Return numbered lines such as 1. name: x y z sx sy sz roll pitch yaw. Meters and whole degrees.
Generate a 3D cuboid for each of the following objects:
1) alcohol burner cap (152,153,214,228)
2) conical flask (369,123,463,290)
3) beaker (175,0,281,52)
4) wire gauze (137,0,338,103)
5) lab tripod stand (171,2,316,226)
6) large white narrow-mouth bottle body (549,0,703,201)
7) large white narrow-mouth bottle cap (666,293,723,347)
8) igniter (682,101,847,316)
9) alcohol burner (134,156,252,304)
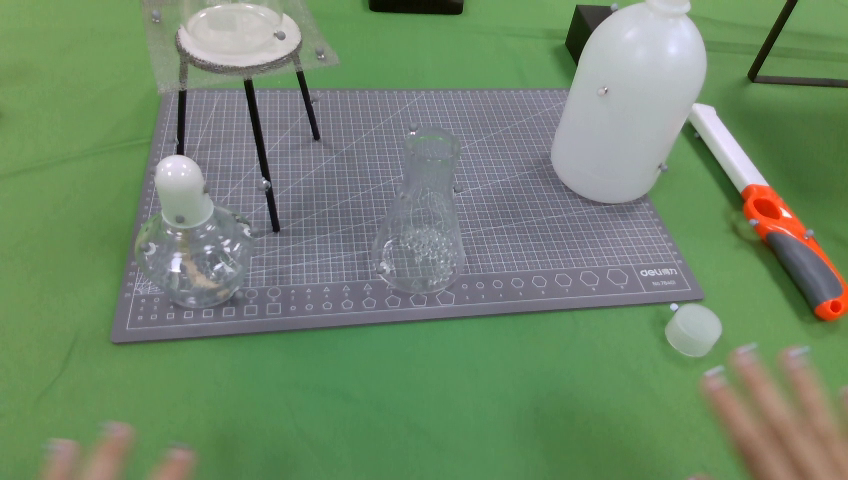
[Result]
1. alcohol burner cap: -0.154 -0.034 0.385 0.034 0.048 0.033 4 53 -5
2. conical flask: -0.001 -0.025 0.443 0.075 0.123 0.074 4 48 -4
3. beaker: -0.137 -0.186 0.404 0.084 0.101 0.073 -8 51 -15
4. wire gauze: -0.138 -0.151 0.440 0.122 0.011 0.123 -15 56 -18
5. lab tripod stand: -0.140 -0.105 0.487 0.148 0.132 0.147 5 48 -6
6. large white narrow-mouth bottle body: 0.176 -0.132 0.515 0.102 0.196 0.101 4 48 -4
7. large white narrow-mouth bottle cap: 0.208 0.062 0.467 0.038 0.024 0.037 4 48 -4
8. igniter: 0.313 -0.042 0.571 0.057 0.025 0.273 5 47 -18
9. alcohol burner: -0.159 -0.011 0.412 0.078 0.120 0.077 5 46 -5
